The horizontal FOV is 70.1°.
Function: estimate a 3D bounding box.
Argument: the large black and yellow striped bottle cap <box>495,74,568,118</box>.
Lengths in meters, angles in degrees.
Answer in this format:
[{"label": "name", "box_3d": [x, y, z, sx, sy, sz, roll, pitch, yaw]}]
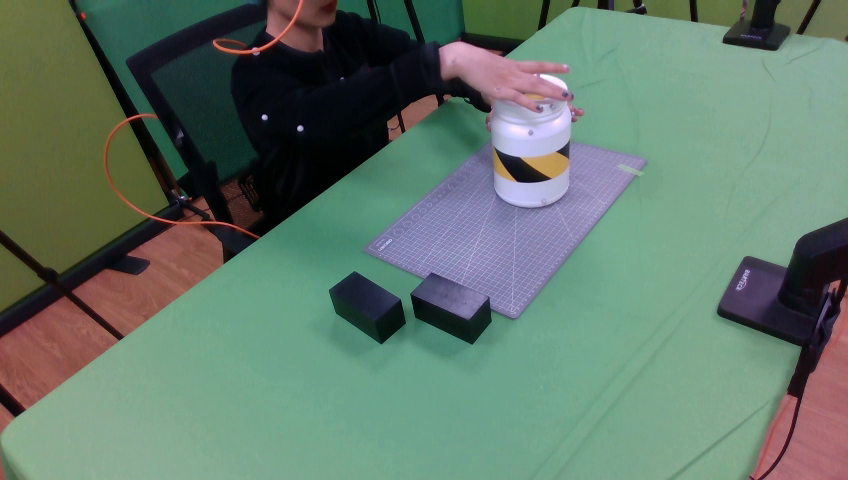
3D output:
[{"label": "large black and yellow striped bottle cap", "box_3d": [0.169, -0.229, 0.954, 0.115, 0.019, 0.114, -4, 41, 4]}]

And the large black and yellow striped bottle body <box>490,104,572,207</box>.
[{"label": "large black and yellow striped bottle body", "box_3d": [0.179, -0.162, 1.009, 0.131, 0.185, 0.130, -5, 40, 5]}]
